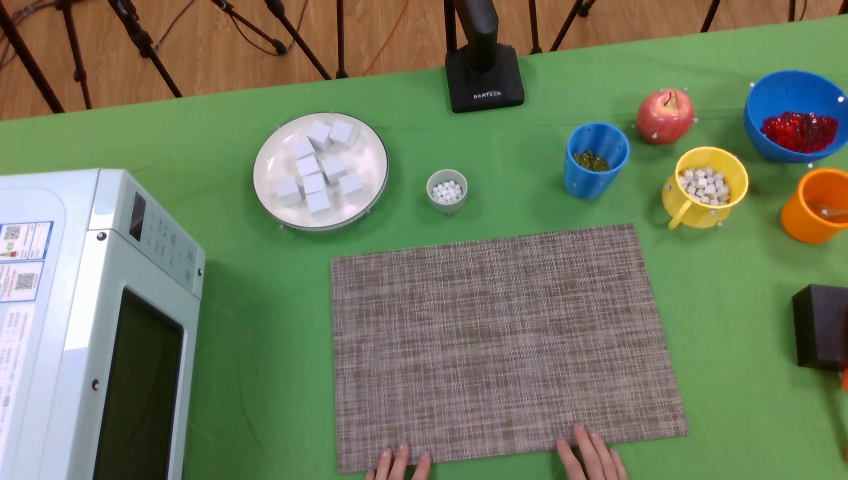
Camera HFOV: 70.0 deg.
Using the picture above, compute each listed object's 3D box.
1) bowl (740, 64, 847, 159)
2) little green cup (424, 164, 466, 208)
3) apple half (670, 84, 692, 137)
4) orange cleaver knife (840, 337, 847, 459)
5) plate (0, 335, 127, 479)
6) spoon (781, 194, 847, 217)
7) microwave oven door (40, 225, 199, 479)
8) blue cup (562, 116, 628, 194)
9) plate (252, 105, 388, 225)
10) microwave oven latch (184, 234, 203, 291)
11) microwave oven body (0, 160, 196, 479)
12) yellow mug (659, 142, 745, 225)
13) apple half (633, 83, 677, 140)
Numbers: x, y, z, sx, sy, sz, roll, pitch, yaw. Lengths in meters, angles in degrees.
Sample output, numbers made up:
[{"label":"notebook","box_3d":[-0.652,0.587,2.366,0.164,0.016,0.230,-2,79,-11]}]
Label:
[{"label":"bowl","box_3d":[0.538,-0.176,0.899,0.151,0.077,0.150,-1,67,4]},{"label":"little green cup","box_3d":[0.032,-0.079,0.909,0.061,0.039,0.061,-1,66,3]},{"label":"apple half","box_3d":[0.386,-0.194,0.917,0.033,0.082,0.080,-2,66,6]},{"label":"orange cleaver knife","box_3d":[0.538,0.164,0.750,0.012,0.077,0.211,7,97,9]},{"label":"plate","box_3d":[-0.464,0.221,0.740,0.209,0.038,0.207,-1,67,2]},{"label":"spoon","box_3d":[0.571,-0.039,0.800,0.041,0.192,0.022,-46,115,-15]},{"label":"microwave oven door","box_3d":[-0.333,0.192,0.683,0.039,0.245,0.353,-4,66,2]},{"label":"blue cup","box_3d":[0.239,-0.115,0.878,0.092,0.101,0.092,-1,68,2]},{"label":"plate","box_3d":[-0.157,-0.112,0.935,0.207,0.039,0.206,-1,67,3]},{"label":"microwave oven latch","box_3d":[-0.334,0.032,0.863,0.030,0.030,0.078,-2,67,2]},{"label":"microwave oven body","box_3d":[-0.480,0.164,0.709,0.326,0.262,0.438,-4,67,1]},{"label":"yellow mug","box_3d":[0.388,-0.072,0.870,0.099,0.064,0.130,39,76,18]},{"label":"apple half","box_3d":[0.346,-0.193,0.920,0.053,0.075,0.080,-2,70,6]}]
